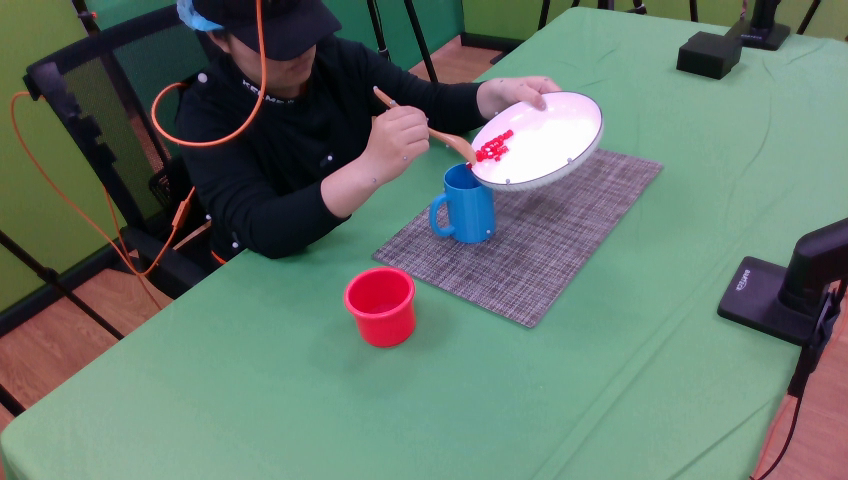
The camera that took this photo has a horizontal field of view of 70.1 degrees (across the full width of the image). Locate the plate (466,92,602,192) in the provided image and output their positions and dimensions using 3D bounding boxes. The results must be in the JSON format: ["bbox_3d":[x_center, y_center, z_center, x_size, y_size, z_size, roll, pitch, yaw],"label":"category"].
[{"bbox_3d":[0.166,-0.143,0.912,0.207,0.039,0.206,-18,41,17],"label":"plate"}]

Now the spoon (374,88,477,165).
[{"bbox_3d":[0.006,-0.163,0.878,0.195,0.021,0.041,26,40,-26],"label":"spoon"}]

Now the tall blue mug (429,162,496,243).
[{"bbox_3d":[0.067,-0.051,0.960,0.077,0.108,0.107,18,47,27],"label":"tall blue mug"}]
